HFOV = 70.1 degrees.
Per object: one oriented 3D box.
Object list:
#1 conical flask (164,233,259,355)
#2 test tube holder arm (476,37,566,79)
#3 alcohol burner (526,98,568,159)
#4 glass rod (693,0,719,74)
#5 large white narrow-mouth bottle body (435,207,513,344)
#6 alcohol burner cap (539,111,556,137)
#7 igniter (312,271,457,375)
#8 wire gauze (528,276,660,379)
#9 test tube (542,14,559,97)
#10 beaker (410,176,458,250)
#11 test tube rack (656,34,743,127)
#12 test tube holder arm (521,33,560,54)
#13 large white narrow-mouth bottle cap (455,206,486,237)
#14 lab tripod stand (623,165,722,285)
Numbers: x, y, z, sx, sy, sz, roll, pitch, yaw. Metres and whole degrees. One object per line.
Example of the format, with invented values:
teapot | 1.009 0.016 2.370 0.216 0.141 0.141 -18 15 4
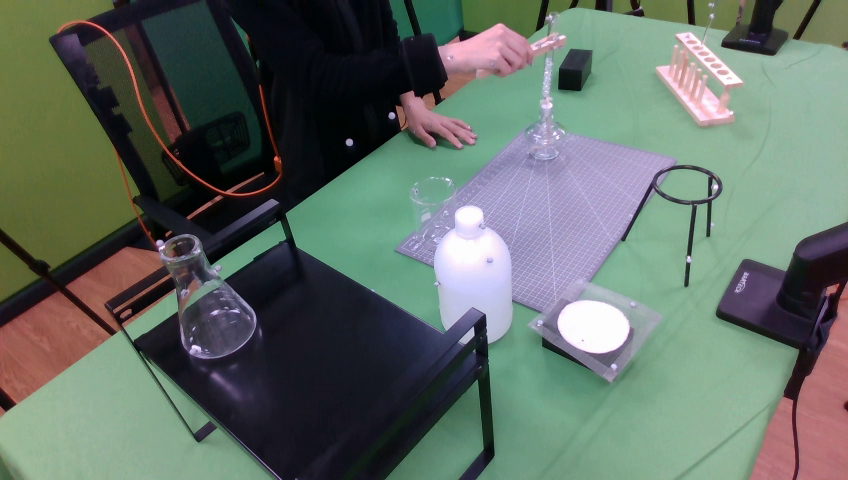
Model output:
conical flask | -0.216 0.051 0.601 0.075 0.122 0.075 -4 40 4
test tube holder arm | 0.158 -0.294 0.970 0.179 0.015 0.013 -27 51 -22
alcohol burner | 0.228 -0.210 1.118 0.078 0.119 0.077 -5 43 5
glass rod | 0.561 -0.401 1.214 0.008 0.200 0.008 -1 48 2
large white narrow-mouth bottle body | 0.065 0.041 0.791 0.102 0.195 0.101 -4 41 4
alcohol burner cap | 0.243 -0.232 1.196 0.034 0.048 0.033 -5 38 4
igniter | -0.068 0.111 0.859 0.274 0.025 0.057 27 61 34
wire gauze | 0.214 0.103 0.763 0.124 0.011 0.122 30 52 35
test tube | 0.213 -0.306 1.018 0.017 0.151 0.017 -2 47 3
beaker | 0.022 -0.041 0.964 0.073 0.101 0.084 28 51 35
test tube rack | 0.553 -0.330 1.233 0.067 0.085 0.241 -7 40 2
test tube holder arm | 0.190 -0.317 0.992 0.088 0.015 0.010 -35 55 -27
large white narrow-mouth bottle cap | 0.057 -0.023 0.734 0.038 0.024 0.037 -4 40 4
lab tripod stand | 0.365 -0.030 0.875 0.148 0.132 0.147 -6 41 6
